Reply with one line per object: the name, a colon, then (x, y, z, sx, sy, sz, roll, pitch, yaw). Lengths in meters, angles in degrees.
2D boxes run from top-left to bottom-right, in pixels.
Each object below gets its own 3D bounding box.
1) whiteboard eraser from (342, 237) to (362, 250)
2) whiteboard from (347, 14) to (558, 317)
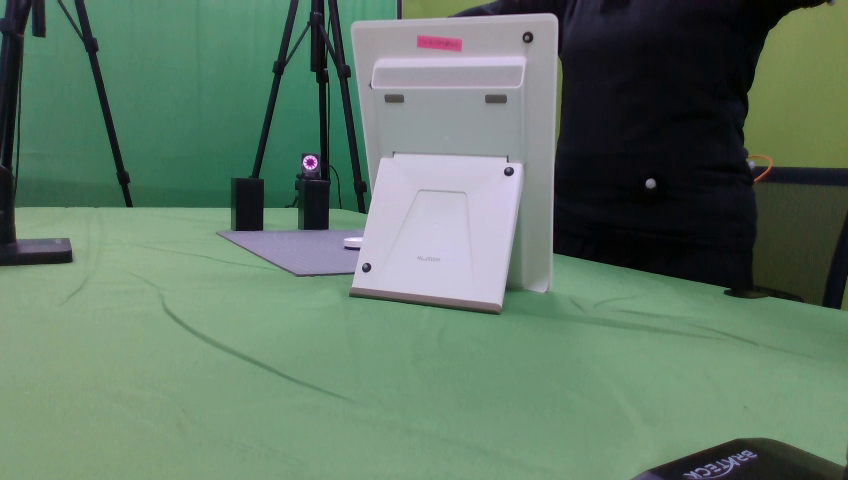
whiteboard eraser: (-0.082, 0.004, 0.968, 0.102, 0.019, 0.041, -1, 7, -31)
whiteboard: (0.012, -0.056, 0.609, 0.216, 0.305, 0.144, 5, 27, 20)
